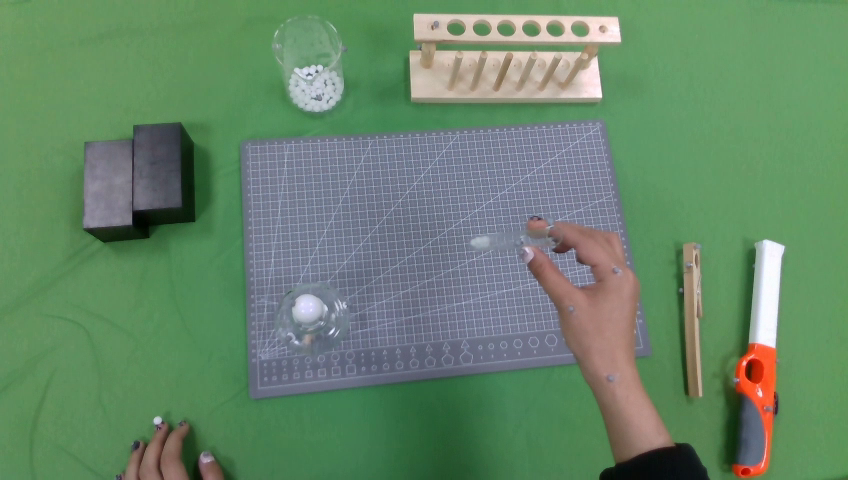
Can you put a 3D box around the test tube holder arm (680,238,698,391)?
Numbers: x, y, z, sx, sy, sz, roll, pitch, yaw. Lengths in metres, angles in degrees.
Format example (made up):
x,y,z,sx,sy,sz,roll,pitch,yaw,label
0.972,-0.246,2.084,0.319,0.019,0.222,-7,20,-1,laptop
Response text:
x,y,z,sx,sy,sz,roll,pitch,yaw,label
0.309,0.085,0.706,0.013,0.015,0.177,15,73,-32,test tube holder arm

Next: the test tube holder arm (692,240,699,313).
x,y,z,sx,sy,sz,roll,pitch,yaw,label
0.318,0.043,0.720,0.010,0.015,0.087,16,72,-32,test tube holder arm

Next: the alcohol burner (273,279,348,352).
x,y,z,sx,sy,sz,roll,pitch,yaw,label
-0.117,0.074,0.618,0.078,0.119,0.077,2,73,-6,alcohol burner

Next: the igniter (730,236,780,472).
x,y,z,sx,sy,sz,roll,pitch,yaw,label
0.384,0.127,0.698,0.057,0.025,0.275,17,74,-11,igniter

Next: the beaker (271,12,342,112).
x,y,z,sx,sy,sz,roll,pitch,yaw,label
-0.132,-0.198,0.701,0.074,0.100,0.083,-2,75,-6,beaker

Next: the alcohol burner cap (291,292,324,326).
x,y,z,sx,sy,sz,roll,pitch,yaw,label
-0.114,0.066,0.583,0.034,0.048,0.033,1,79,-6,alcohol burner cap

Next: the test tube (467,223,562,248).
x,y,z,sx,sy,sz,roll,pitch,yaw,label
0.074,-0.002,0.535,0.017,0.149,0.017,1,87,-21,test tube

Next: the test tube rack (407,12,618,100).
x,y,z,sx,sy,sz,roll,pitch,yaw,label
0.103,-0.221,0.737,0.243,0.085,0.066,-1,75,-6,test tube rack
